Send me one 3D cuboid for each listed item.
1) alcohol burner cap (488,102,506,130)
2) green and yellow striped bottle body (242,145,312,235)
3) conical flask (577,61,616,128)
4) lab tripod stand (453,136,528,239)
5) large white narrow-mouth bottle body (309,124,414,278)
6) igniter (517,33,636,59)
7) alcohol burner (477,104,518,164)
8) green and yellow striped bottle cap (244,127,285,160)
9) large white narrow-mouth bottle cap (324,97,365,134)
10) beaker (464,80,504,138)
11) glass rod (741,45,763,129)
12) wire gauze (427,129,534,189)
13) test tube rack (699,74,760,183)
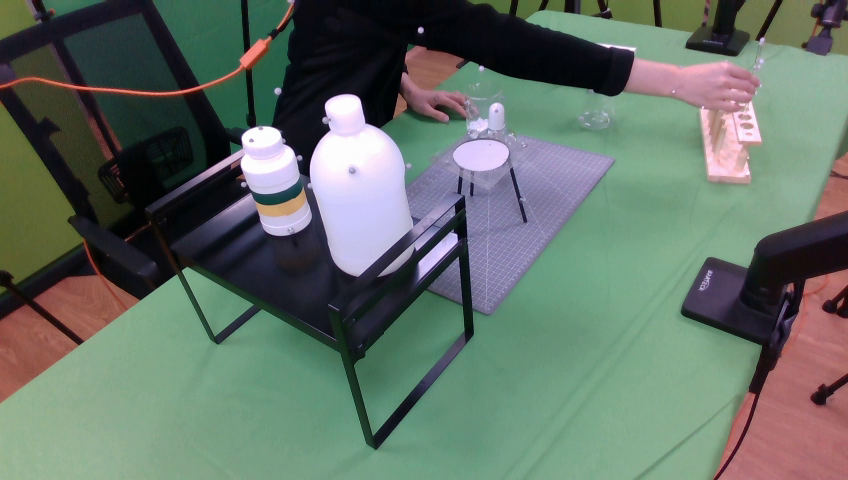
[{"bbox_3d":[0.133,-0.227,1.092,0.034,0.048,0.033,-1,47,2],"label":"alcohol burner cap"},{"bbox_3d":[-0.179,-0.069,0.730,0.063,0.120,0.063,-4,41,4],"label":"green and yellow striped bottle body"},{"bbox_3d":[0.343,-0.288,1.187,0.075,0.122,0.075,-4,40,4],"label":"conical flask"},{"bbox_3d":[0.094,-0.086,0.974,0.148,0.132,0.147,-4,42,4],"label":"lab tripod stand"},{"bbox_3d":[-0.068,-0.057,0.645,0.102,0.195,0.101,-4,42,4],"label":"large white narrow-mouth bottle body"},{"bbox_3d":[0.336,-0.441,1.369,0.275,0.025,0.057,16,41,23],"label":"igniter"},{"bbox_3d":[0.135,-0.199,1.117,0.078,0.119,0.077,-4,43,4],"label":"alcohol burner"},{"bbox_3d":[-0.183,-0.111,0.694,0.045,0.020,0.045,-1,42,2],"label":"green and yellow striped bottle cap"},{"bbox_3d":[-0.076,-0.121,0.585,0.038,0.024,0.037,-3,42,4],"label":"large white narrow-mouth bottle cap"},{"bbox_3d":[0.118,-0.254,1.193,0.074,0.101,0.083,-19,42,-14],"label":"beaker"},{"bbox_3d":[0.535,-0.233,0.992,0.008,0.201,0.008,-8,49,10],"label":"glass rod"},{"bbox_3d":[0.086,-0.131,0.924,0.124,0.011,0.122,26,52,33],"label":"wire gauze"},{"bbox_3d":[0.547,-0.208,1.095,0.066,0.085,0.242,6,42,16],"label":"test tube rack"}]
